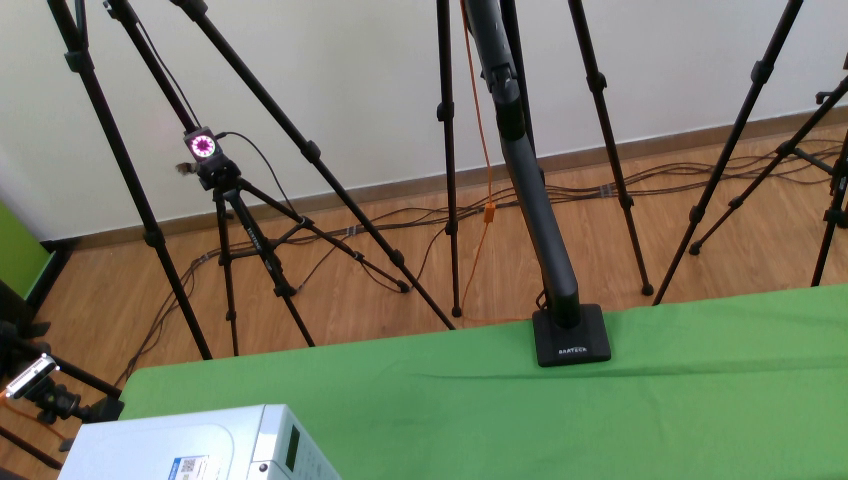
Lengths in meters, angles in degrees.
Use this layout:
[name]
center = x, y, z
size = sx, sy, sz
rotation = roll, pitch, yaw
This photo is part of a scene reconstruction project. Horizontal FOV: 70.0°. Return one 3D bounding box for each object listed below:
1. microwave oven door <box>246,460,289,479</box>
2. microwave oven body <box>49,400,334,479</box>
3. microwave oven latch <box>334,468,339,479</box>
[microwave oven door]
center = -0.172, 0.464, 0.676
size = 0.039, 0.246, 0.352
rotation = -9, 44, 10
[microwave oven body]
center = -0.313, 0.461, 0.732
size = 0.325, 0.263, 0.437
rotation = -8, 45, 9
[microwave oven latch]
center = -0.144, 0.381, 0.899
size = 0.030, 0.030, 0.078
rotation = -8, 45, 10
